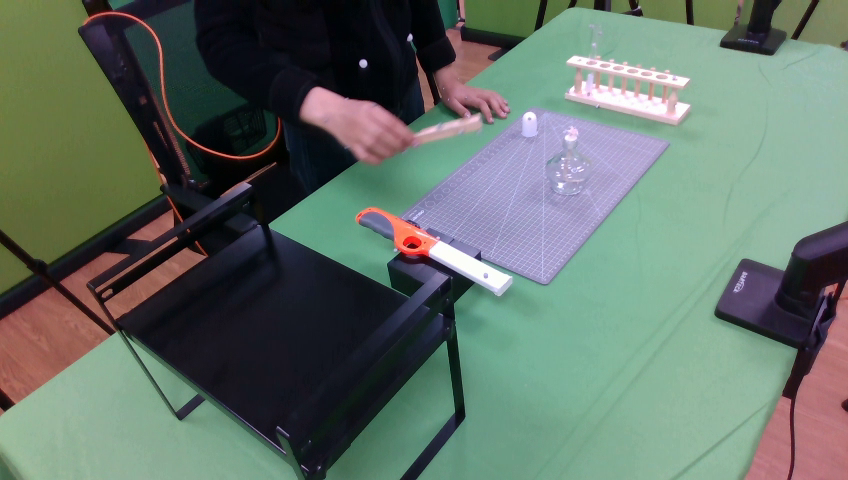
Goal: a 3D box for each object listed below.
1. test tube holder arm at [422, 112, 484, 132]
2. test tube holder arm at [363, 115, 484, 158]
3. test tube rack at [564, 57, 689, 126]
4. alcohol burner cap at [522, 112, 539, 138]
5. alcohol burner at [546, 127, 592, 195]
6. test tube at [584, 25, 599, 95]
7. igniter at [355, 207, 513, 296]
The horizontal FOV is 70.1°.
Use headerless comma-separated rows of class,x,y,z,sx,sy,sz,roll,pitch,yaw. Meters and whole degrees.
test tube holder arm,0.039,-0.158,0.836,0.087,0.015,0.010,-14,31,15
test tube holder arm,-0.004,-0.144,0.843,0.178,0.015,0.013,-14,31,15
test tube rack,0.411,-0.311,1.230,0.240,0.085,0.067,23,49,32
alcohol burner cap,0.210,-0.230,1.195,0.034,0.048,0.033,-6,41,5
alcohol burner,0.246,-0.137,1.024,0.078,0.119,0.077,-4,38,4
test tube,0.339,-0.361,1.224,0.017,0.151,0.017,-4,45,4
igniter,0.006,0.010,0.885,0.274,0.025,0.057,27,53,30
